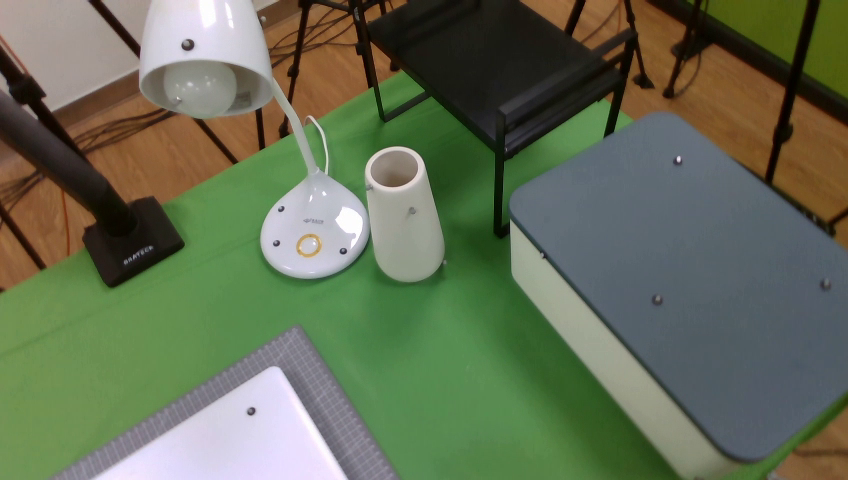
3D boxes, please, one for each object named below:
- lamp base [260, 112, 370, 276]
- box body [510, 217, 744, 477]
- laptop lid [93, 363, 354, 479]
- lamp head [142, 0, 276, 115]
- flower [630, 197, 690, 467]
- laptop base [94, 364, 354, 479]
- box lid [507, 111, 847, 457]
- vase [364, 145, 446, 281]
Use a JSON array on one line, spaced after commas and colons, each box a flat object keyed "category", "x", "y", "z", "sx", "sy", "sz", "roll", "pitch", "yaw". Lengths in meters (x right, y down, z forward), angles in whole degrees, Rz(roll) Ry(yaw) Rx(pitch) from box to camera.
[{"category": "lamp base", "x": -0.164, "y": -0.070, "z": 0.824, "sx": 0.160, "sy": 0.182, "sz": 0.177, "roll": -4, "pitch": 54, "yaw": 2}, {"category": "box body", "x": 0.298, "y": 0.056, "z": 0.714, "sx": 0.254, "sy": 0.162, "sz": 0.360, "roll": -31, "pitch": 60, "yaw": -14}, {"category": "laptop lid", "x": -0.257, "y": 0.319, "z": 0.660, "sx": 0.357, "sy": 0.013, "sz": 0.239, "roll": -31, "pitch": 62, "yaw": -15}, {"category": "lamp head", "x": -0.192, "y": -0.185, "z": 0.543, "sx": 0.112, "sy": 0.113, "sz": 0.122, "roll": -7, "pitch": 74, "yaw": 1}, {"category": "flower", "x": 0.302, "y": 0.099, "z": 0.762, "sx": 0.044, "sy": 0.038, "sz": 0.358, "roll": -15, "pitch": 53, "yaw": 28}, {"category": "laptop base", "x": -0.257, "y": 0.323, "z": 0.671, "sx": 0.354, "sy": 0.023, "sz": 0.233, "roll": -33, "pitch": 64, "yaw": -16}, {"category": "box lid", "x": 0.291, "y": 0.014, "z": 0.653, "sx": 0.263, "sy": 0.015, "sz": 0.367, "roll": -30, "pitch": 60, "yaw": -15}, {"category": "vase", "x": -0.027, "y": -0.031, "z": 0.776, "sx": 0.098, "sy": 0.202, "sz": 0.097, "roll": -3, "pitch": 56, "yaw": 5}]
